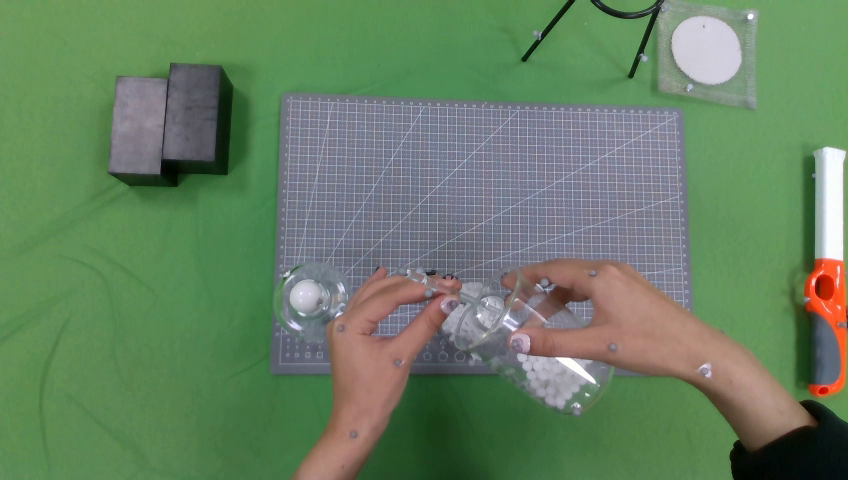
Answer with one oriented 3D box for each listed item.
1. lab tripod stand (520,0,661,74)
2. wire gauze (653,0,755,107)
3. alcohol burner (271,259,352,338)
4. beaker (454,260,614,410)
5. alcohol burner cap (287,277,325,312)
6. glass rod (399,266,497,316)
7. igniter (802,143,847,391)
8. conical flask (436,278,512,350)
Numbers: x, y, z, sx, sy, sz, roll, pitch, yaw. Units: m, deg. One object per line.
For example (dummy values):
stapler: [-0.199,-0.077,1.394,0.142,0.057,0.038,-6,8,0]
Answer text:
lab tripod stand: [0.181,-0.243,0.634,0.148,0.131,0.148,0,84,-4]
wire gauze: [0.327,-0.223,0.706,0.125,0.011,0.121,7,82,-5]
alcohol burner: [-0.109,0.054,0.576,0.078,0.119,0.077,0,81,-2]
beaker: [0.082,0.073,0.451,0.101,0.083,0.074,36,84,-12]
alcohol burner cap: [-0.106,0.048,0.540,0.034,0.048,0.034,1,85,-7]
glass rod: [0.025,0.042,0.469,0.008,0.201,0.008,-6,74,22]
igniter: [0.445,0.028,0.671,0.057,0.025,0.275,8,82,-14]
conical flask: [0.054,0.069,0.583,0.075,0.122,0.075,1,81,-4]
